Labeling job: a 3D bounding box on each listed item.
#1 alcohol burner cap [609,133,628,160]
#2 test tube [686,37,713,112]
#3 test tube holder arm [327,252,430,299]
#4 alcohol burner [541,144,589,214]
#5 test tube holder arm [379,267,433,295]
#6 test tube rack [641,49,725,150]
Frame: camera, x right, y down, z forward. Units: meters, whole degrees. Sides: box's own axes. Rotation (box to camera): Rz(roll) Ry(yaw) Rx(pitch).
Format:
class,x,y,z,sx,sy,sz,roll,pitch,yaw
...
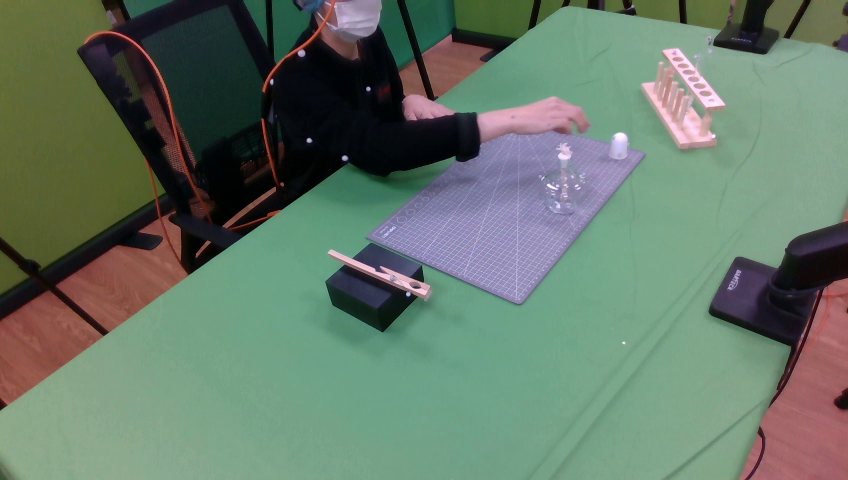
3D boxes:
class,x,y,z,sx,sy,sz,roll,pitch,yaw
alcohol burner cap,0.356,-0.172,1.100,0.034,0.048,0.033,-5,41,5
test tube,0.509,-0.306,1.128,0.017,0.151,0.017,-1,45,1
test tube holder arm,-0.068,0.048,0.854,0.177,0.015,0.013,18,54,27
alcohol burner,0.229,-0.102,0.983,0.078,0.119,0.077,-6,40,5
test tube holder arm,-0.027,0.057,0.837,0.087,0.015,0.010,18,55,28
test tube rack,0.495,-0.279,1.175,0.067,0.085,0.241,-5,41,3
